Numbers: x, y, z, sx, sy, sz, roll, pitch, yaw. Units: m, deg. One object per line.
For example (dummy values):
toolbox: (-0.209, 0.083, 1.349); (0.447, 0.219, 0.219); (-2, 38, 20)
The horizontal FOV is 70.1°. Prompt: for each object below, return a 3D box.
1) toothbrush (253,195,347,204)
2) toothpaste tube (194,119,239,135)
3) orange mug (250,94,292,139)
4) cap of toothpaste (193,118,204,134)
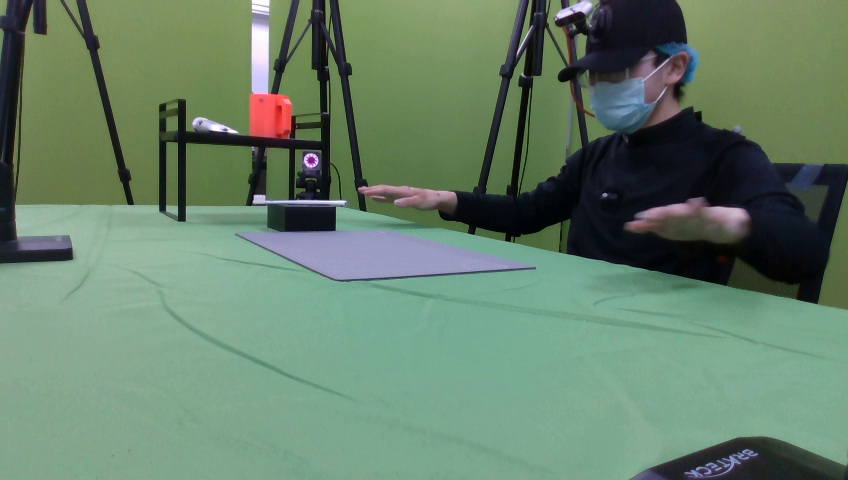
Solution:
toothbrush: (-0.234, -0.076, 1.154); (0.183, 0.016, 0.014); (-1, 5, -27)
toothpaste tube: (-0.451, -0.238, 1.289); (0.055, 0.034, 0.164); (-8, 16, -38)
orange mug: (-0.339, -0.279, 1.364); (0.125, 0.100, 0.084); (4, 6, 45)
cap of toothpaste: (-0.497, -0.255, 1.350); (0.037, 0.037, 0.011); (-4, 14, -38)
